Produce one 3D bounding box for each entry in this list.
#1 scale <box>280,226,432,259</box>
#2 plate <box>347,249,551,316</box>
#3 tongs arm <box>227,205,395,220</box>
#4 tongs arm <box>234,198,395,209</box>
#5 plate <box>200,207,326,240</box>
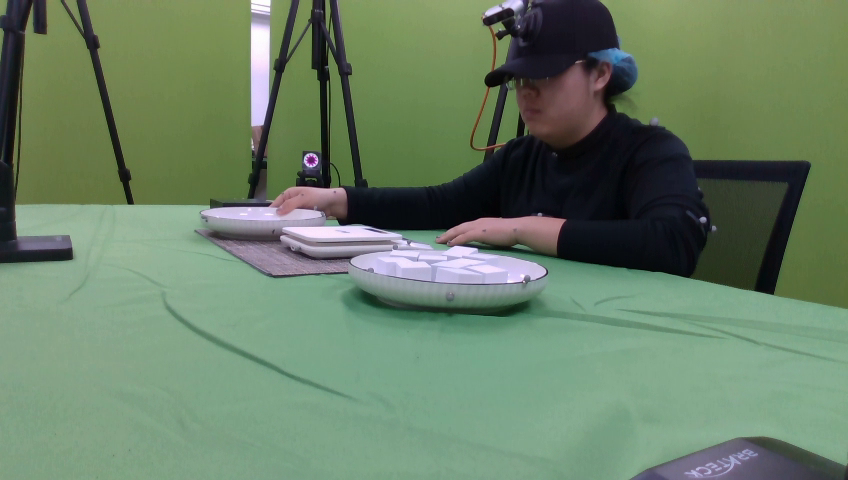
[{"bbox_3d":[-0.100,0.001,0.899,0.202,0.031,0.148,-1,9,-31],"label":"scale"},{"bbox_3d":[0.025,0.042,0.627,0.209,0.038,0.209,2,7,0],"label":"plate"},{"bbox_3d":[-0.247,-0.063,1.381,0.389,0.028,0.028,0,4,-21],"label":"tongs arm"},{"bbox_3d":[-0.263,-0.076,1.460,0.386,0.026,0.050,3,7,-8],"label":"tongs arm"},{"bbox_3d":[-0.273,-0.028,1.035,0.208,0.039,0.207,2,8,0],"label":"plate"}]
